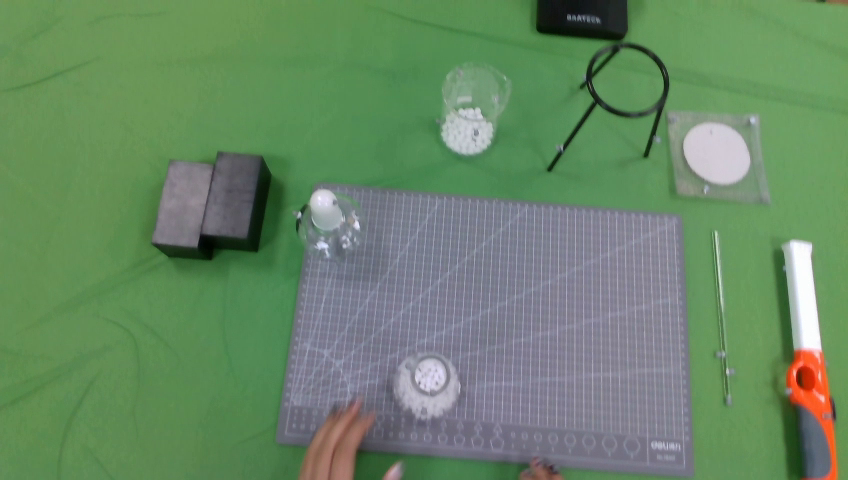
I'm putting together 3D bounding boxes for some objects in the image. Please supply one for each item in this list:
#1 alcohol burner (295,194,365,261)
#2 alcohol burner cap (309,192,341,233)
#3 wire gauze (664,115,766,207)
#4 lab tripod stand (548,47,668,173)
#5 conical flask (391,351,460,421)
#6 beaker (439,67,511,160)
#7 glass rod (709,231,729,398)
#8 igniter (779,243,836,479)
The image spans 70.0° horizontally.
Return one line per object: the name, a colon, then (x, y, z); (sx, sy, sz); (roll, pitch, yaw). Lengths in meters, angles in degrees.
alcohol burner: (-0.105, -0.019, 0.661); (0.078, 0.120, 0.077); (0, 73, 0)
alcohol burner cap: (-0.104, -0.032, 0.627); (0.034, 0.048, 0.033); (2, 65, -4)
wire gauze: (0.370, -0.104, 0.769); (0.125, 0.011, 0.121); (4, 73, -3)
lab tripod stand: (0.214, -0.146, 0.709); (0.148, 0.132, 0.147); (1, 74, -2)
conical flask: (0.003, 0.143, 0.612); (0.075, 0.122, 0.075); (1, 72, -2)
beaker: (0.057, -0.147, 0.720); (0.084, 0.101, 0.073); (-19, 74, -9)
glass rod: (0.345, 0.083, 0.709); (0.008, 0.008, 0.198); (4, 73, -2)
igniter: (0.433, 0.137, 0.687); (0.057, 0.025, 0.275); (9, 72, -11)
